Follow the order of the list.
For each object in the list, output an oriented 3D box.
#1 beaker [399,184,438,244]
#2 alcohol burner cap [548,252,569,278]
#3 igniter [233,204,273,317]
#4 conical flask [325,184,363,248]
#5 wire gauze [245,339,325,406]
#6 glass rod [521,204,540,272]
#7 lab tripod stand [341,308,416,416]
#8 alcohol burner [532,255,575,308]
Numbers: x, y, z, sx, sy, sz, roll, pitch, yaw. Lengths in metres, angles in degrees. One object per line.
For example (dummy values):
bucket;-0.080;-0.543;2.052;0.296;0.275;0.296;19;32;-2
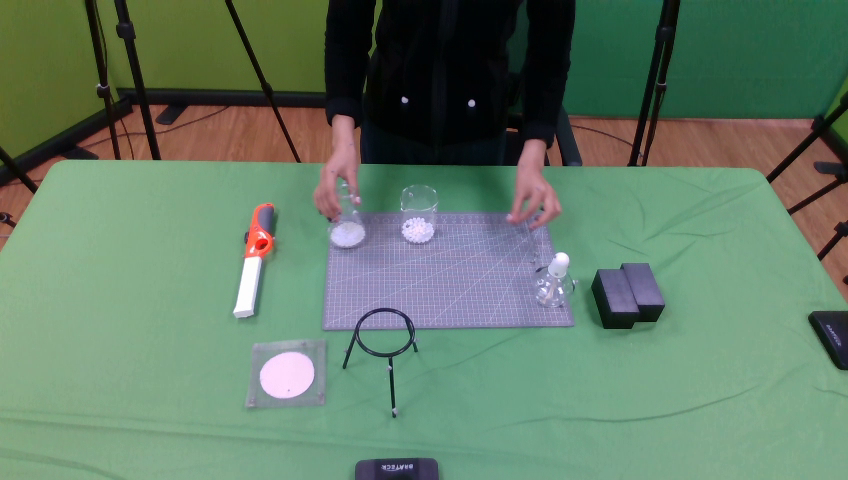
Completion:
beaker;-0.014;-0.046;1.186;0.073;0.101;0.084;36;54;27
alcohol burner cap;0.238;0.042;1.060;0.034;0.048;0.033;1;53;-1
igniter;-0.321;0.029;1.142;0.057;0.025;0.274;-7;46;4
conical flask;-0.154;-0.048;1.151;0.075;0.122;0.075;3;45;-2
wire gauze;-0.224;0.215;0.984;0.125;0.011;0.120;-3;46;-5
glass rod;0.215;-0.008;1.230;0.008;0.008;0.198;0;43;-3
lab tripod stand;-0.061;0.177;0.946;0.148;0.132;0.147;2;44;-2
alcohol burner;0.235;0.066;1.087;0.078;0.119;0.077;4;45;-3
